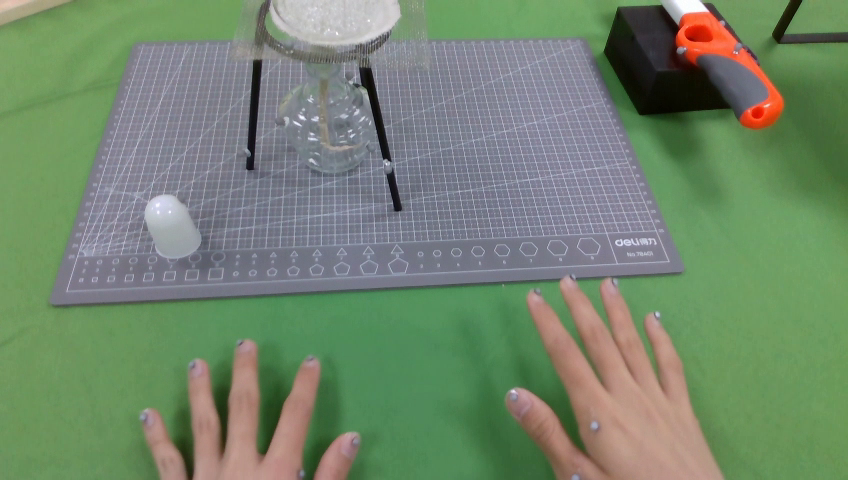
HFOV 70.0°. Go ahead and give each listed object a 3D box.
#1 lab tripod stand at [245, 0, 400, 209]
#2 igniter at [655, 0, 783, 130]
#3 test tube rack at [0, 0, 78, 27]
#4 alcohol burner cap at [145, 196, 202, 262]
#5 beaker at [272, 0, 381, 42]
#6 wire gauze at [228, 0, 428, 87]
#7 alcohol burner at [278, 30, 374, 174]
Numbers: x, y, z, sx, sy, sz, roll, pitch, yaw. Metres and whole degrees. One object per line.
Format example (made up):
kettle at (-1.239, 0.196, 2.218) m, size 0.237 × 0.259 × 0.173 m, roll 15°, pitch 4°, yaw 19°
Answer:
lab tripod stand at (-0.066, -0.106, 0.452) m, size 0.148 × 0.132 × 0.147 m, roll 3°, pitch 52°, yaw -4°
igniter at (0.248, -0.194, 0.553) m, size 0.057 × 0.025 × 0.273 m, roll -6°, pitch 51°, yaw -5°
test tube rack at (-0.381, -0.293, 0.608) m, size 0.242 × 0.086 × 0.066 m, roll -34°, pitch 62°, yaw -26°
alcohol burner cap at (-0.179, -0.011, 0.428) m, size 0.034 × 0.048 × 0.033 m, roll 3°, pitch 51°, yaw -3°
beaker at (-0.060, -0.177, 0.362) m, size 0.074 × 0.101 × 0.083 m, roll -10°, pitch 56°, yaw -11°
wire gauze at (-0.059, -0.153, 0.406) m, size 0.125 × 0.011 × 0.120 m, roll 4°, pitch 56°, yaw -5°
alcohol burner at (-0.075, -0.108, 0.465) m, size 0.078 × 0.120 × 0.077 m, roll 1°, pitch 54°, yaw -1°
